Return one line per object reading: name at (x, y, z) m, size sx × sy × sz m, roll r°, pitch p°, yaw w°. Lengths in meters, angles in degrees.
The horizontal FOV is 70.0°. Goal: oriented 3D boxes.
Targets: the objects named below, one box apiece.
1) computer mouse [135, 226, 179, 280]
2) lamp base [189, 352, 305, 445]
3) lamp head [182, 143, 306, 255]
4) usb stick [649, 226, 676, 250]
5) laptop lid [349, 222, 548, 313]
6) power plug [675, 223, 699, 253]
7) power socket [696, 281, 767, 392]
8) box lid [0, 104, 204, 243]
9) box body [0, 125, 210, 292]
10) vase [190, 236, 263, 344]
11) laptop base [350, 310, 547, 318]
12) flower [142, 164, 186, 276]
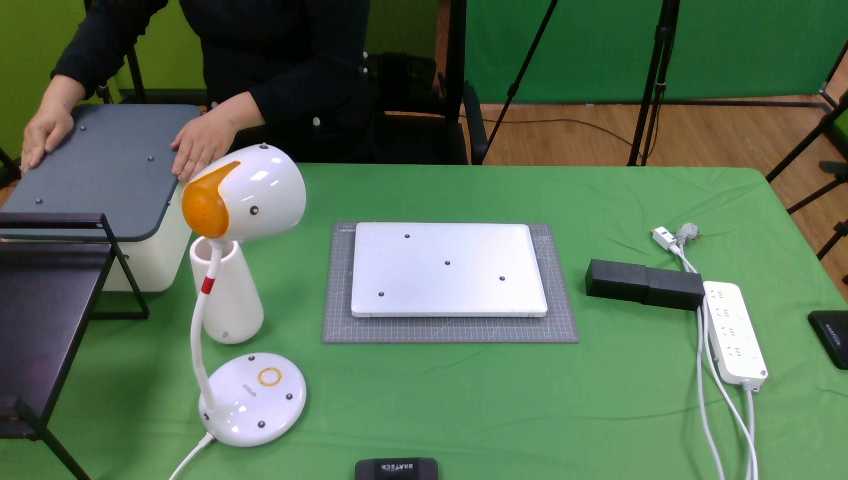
computer mouse at (-0.492, 0.020, 1.118) m, size 0.063 × 0.041 × 0.116 m, roll 1°, pitch 54°, yaw -10°
lamp base at (-0.268, 0.196, 0.876) m, size 0.160 × 0.181 × 0.179 m, roll 25°, pitch 52°, yaw 20°
lamp head at (-0.215, -0.044, 0.697) m, size 0.112 × 0.113 × 0.123 m, roll 23°, pitch 31°, yaw 17°
usb stick at (0.485, -0.008, 1.238) m, size 0.021 × 0.027 × 0.059 m, roll -22°, pitch 44°, yaw -13°
laptop lid at (0.042, 0.046, 1.142) m, size 0.357 × 0.013 × 0.240 m, roll 2°, pitch 44°, yaw -3°
power plug at (0.537, 0.000, 1.244) m, size 0.053 × 0.035 × 0.072 m, roll 19°, pitch 83°, yaw -17°
power socket at (0.543, 0.161, 1.077) m, size 0.072 × 0.033 × 0.225 m, roll 6°, pitch 46°, yaw 2°
box lid at (-0.563, -0.131, 1.079) m, size 0.263 × 0.015 × 0.369 m, roll 1°, pitch 46°, yaw -3°
box body at (-0.568, -0.082, 1.134) m, size 0.254 × 0.161 × 0.361 m, roll 2°, pitch 46°, yaw -3°
vase at (-0.317, 0.081, 0.971) m, size 0.098 × 0.201 × 0.097 m, roll 3°, pitch 47°, yaw -3°
laptop base at (0.041, 0.056, 1.149) m, size 0.355 × 0.023 × 0.234 m, roll 0°, pitch 43°, yaw -4°
flower at (-0.492, -0.055, 1.173) m, size 0.044 × 0.038 × 0.359 m, roll -39°, pitch 34°, yaw 18°
